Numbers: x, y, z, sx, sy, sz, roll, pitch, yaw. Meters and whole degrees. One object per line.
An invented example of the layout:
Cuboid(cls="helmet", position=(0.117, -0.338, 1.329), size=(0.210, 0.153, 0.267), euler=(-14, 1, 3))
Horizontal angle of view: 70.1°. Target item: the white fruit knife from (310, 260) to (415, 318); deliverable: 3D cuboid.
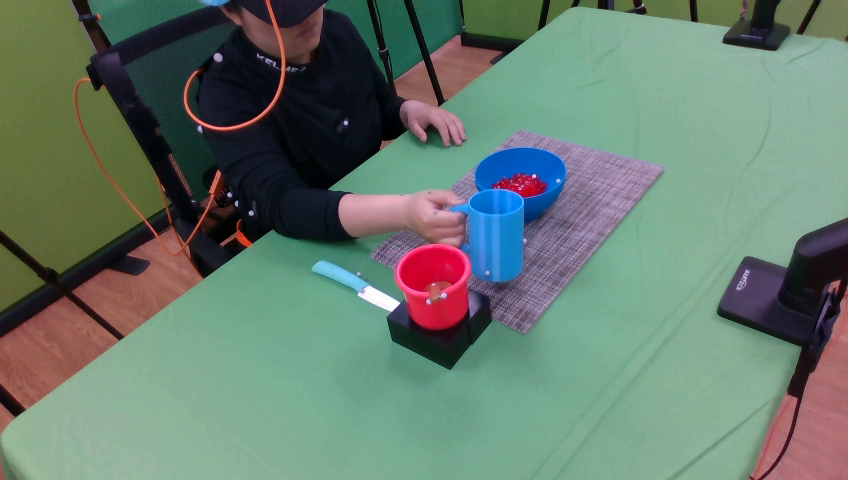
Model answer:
Cuboid(cls="white fruit knife", position=(-0.094, 0.074, 0.920), size=(0.206, 0.016, 0.027), euler=(24, 77, 30))

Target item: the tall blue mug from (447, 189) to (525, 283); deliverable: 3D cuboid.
Cuboid(cls="tall blue mug", position=(0.085, -0.005, 0.838), size=(0.107, 0.108, 0.077), euler=(-3, 33, 2))

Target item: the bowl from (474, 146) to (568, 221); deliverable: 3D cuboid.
Cuboid(cls="bowl", position=(0.161, -0.083, 1.001), size=(0.151, 0.077, 0.150), euler=(-5, 40, 5))

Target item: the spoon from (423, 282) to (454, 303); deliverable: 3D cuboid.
Cuboid(cls="spoon", position=(0.015, 0.062, 0.733), size=(0.041, 0.021, 0.194), euler=(-5, -4, 3))
